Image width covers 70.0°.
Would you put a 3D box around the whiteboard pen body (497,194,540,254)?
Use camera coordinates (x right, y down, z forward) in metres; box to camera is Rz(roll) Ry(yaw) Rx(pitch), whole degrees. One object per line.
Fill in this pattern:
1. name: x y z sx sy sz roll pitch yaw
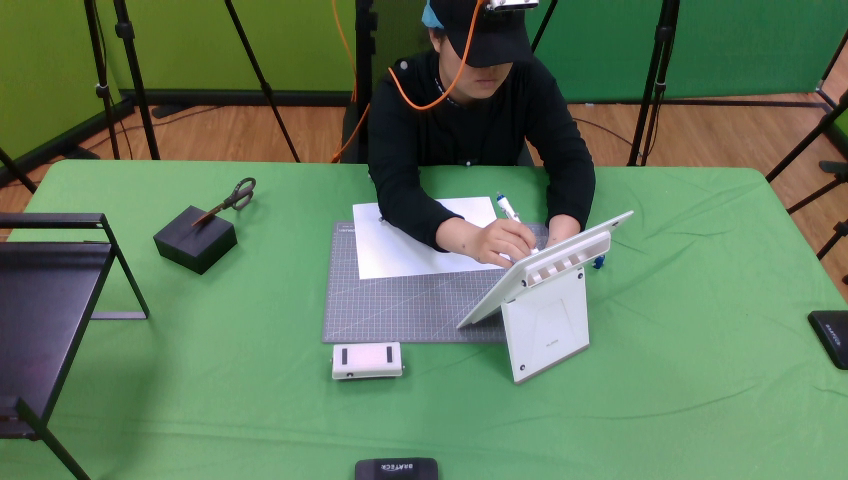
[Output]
1. whiteboard pen body: 0.159 -0.013 0.980 0.017 0.017 0.140 -31 88 -29

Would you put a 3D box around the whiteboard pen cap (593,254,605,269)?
1. whiteboard pen cap: 0.340 0.041 1.179 0.018 0.033 0.018 2 45 -1

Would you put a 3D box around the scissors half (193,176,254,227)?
1. scissors half: -0.388 -0.075 1.174 0.013 0.040 0.174 29 47 8

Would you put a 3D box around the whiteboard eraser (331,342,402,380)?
1. whiteboard eraser: -0.094 0.198 0.986 0.113 0.042 0.055 -2 44 -6

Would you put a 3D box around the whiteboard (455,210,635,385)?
1. whiteboard: 0.211 0.111 0.955 0.217 0.306 0.143 -21 71 -23

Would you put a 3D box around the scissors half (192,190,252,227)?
1. scissors half: -0.393 -0.060 1.187 0.013 0.040 0.175 25 29 12
